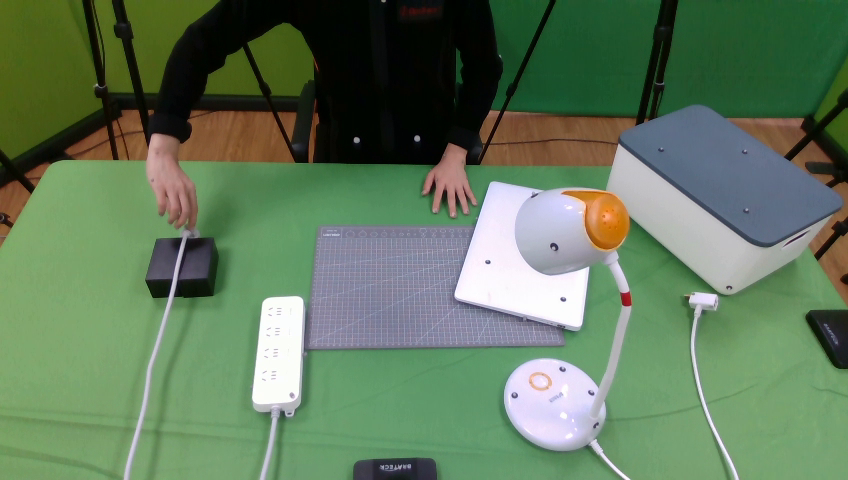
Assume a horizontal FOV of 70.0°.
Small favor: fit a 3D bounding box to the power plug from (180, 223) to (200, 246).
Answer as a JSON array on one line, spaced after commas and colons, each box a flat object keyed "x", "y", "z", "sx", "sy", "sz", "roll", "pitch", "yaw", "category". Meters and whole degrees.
[{"x": -0.450, "y": -0.004, "z": 1.137, "sx": 0.035, "sy": 0.053, "sz": 0.072, "roll": 24, "pitch": 32, "yaw": 2, "category": "power plug"}]

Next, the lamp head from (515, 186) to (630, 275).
[{"x": 0.188, "y": -0.013, "z": 0.728, "sx": 0.112, "sy": 0.112, "sz": 0.122, "roll": -25, "pitch": 9, "yaw": -25, "category": "lamp head"}]

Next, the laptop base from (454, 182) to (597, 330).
[{"x": 0.211, "y": 0.018, "z": 1.202, "sx": 0.235, "sy": 0.023, "sz": 0.352, "roll": 11, "pitch": 46, "yaw": 10, "category": "laptop base"}]

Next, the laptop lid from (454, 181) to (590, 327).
[{"x": 0.210, "y": 0.010, "z": 1.193, "sx": 0.241, "sy": 0.013, "sz": 0.355, "roll": 13, "pitch": 46, "yaw": 11, "category": "laptop lid"}]

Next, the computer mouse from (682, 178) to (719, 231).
[{"x": 0.596, "y": -0.078, "z": 1.290, "sx": 0.117, "sy": 0.041, "sz": 0.062, "roll": 56, "pitch": 44, "yaw": -7, "category": "computer mouse"}]

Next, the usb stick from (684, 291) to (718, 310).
[{"x": 0.509, "y": 0.111, "z": 1.121, "sx": 0.059, "sy": 0.021, "sz": 0.027, "roll": 6, "pitch": 54, "yaw": 46, "category": "usb stick"}]

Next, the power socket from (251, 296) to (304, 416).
[{"x": -0.238, "y": 0.181, "z": 0.997, "sx": 0.072, "sy": 0.033, "sz": 0.225, "roll": -3, "pitch": 47, "yaw": -5, "category": "power socket"}]

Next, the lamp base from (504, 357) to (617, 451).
[{"x": 0.220, "y": 0.211, "z": 0.903, "sx": 0.160, "sy": 0.181, "sz": 0.178, "roll": -33, "pitch": 59, "yaw": -30, "category": "lamp base"}]

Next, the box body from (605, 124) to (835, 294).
[{"x": 0.582, "y": -0.089, "z": 1.230, "sx": 0.254, "sy": 0.161, "sz": 0.361, "roll": -22, "pitch": 52, "yaw": -23, "category": "box body"}]

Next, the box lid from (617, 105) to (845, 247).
[{"x": 0.586, "y": -0.138, "z": 1.176, "sx": 0.263, "sy": 0.015, "sz": 0.369, "roll": -22, "pitch": 51, "yaw": -23, "category": "box lid"}]
